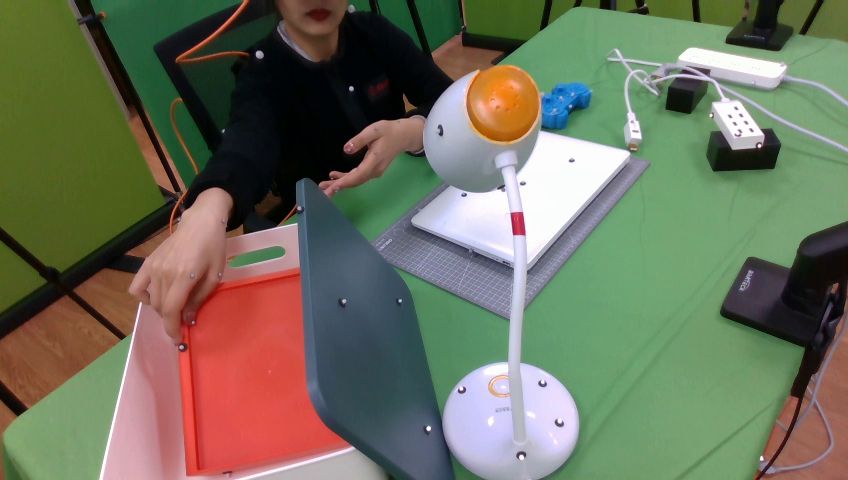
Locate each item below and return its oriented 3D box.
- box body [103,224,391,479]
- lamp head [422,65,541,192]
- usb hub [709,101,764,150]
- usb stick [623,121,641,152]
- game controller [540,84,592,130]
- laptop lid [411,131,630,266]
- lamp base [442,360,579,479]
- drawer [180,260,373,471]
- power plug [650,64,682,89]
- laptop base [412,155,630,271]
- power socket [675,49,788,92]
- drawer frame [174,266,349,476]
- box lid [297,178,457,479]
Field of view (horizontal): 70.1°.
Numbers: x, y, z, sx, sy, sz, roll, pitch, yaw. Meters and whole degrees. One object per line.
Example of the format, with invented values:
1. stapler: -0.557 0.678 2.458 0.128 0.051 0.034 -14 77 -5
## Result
1. box body: -0.190 0.162 0.723 0.255 0.161 0.361 -13 40 -5
2. lamp head: 0.060 -0.106 0.560 0.113 0.112 0.122 -17 0 -8
3. usb hub: 0.534 -0.199 1.040 0.049 0.025 0.124 -5 39 8
4. usb stick: 0.389 -0.192 1.129 0.021 0.027 0.059 8 62 -9
5. game controller: 0.277 -0.282 1.251 0.096 0.052 0.155 27 52 30
6. laptop lid: 0.172 -0.094 1.050 0.239 0.013 0.358 23 49 36
7. lamp base: 0.094 0.158 0.657 0.161 0.181 0.178 -13 42 -5
8. drawer: -0.176 0.147 0.726 0.195 0.073 0.210 -12 70 -5
9. power plug: 0.498 -0.341 1.263 0.035 0.052 0.072 20 10 -7
10. laptop base: 0.176 -0.085 1.056 0.233 0.023 0.355 20 48 36
11. power socket: 0.647 -0.363 1.284 0.225 0.033 0.072 26 53 35
12. drawer frame: -0.177 0.148 0.720 0.202 0.083 0.212 -12 68 -6
13. box lid: -0.059 0.103 0.702 0.015 0.265 0.369 -30 39 11
